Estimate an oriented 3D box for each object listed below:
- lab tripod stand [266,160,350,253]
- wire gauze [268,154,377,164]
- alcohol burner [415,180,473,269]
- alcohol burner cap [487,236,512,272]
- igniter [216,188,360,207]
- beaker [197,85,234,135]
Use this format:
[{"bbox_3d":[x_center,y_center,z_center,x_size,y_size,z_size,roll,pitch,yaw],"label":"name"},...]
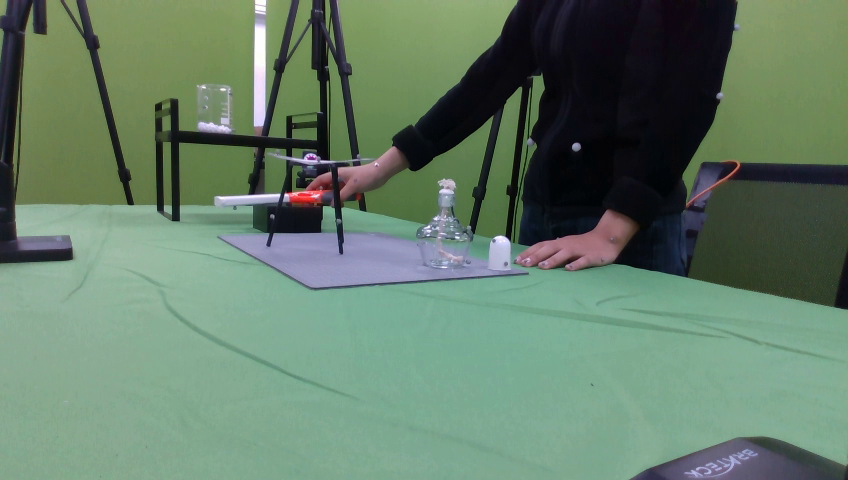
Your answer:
[{"bbox_3d":[-0.164,-0.054,0.915,0.148,0.131,0.148,2,9,0],"label":"lab tripod stand"},{"bbox_3d":[-0.154,-0.120,0.910,0.122,0.011,0.124,-5,11,-44],"label":"wire gauze"},{"bbox_3d":[0.028,-0.021,0.807,0.078,0.119,0.078,3,5,0],"label":"alcohol burner"},{"bbox_3d":[0.101,0.019,0.802,0.034,0.048,0.034,2,7,0],"label":"alcohol burner cap"},{"bbox_3d":[-0.251,-0.081,1.151,0.278,0.025,0.057,-6,14,-33],"label":"igniter"},{"bbox_3d":[-0.444,-0.275,1.283,0.074,0.100,0.084,5,8,22],"label":"beaker"}]
